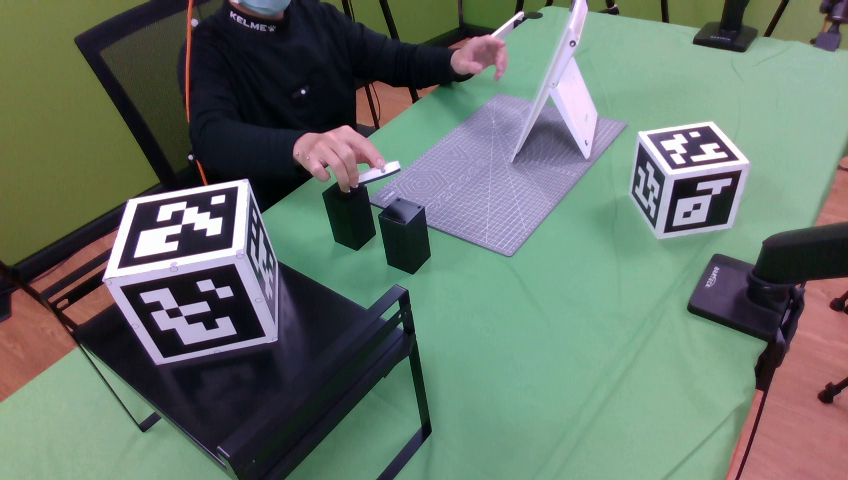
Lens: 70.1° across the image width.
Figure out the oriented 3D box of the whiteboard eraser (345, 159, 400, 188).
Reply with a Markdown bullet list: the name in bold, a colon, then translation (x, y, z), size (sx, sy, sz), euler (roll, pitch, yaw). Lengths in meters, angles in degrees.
- **whiteboard eraser**: translation (-0.077, -0.100, 0.892), size (0.100, 0.019, 0.041), euler (-13, 10, 42)

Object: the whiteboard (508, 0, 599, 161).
- **whiteboard**: translation (0.285, -0.289, 1.088), size (0.144, 0.305, 0.217), euler (22, 45, 3)
